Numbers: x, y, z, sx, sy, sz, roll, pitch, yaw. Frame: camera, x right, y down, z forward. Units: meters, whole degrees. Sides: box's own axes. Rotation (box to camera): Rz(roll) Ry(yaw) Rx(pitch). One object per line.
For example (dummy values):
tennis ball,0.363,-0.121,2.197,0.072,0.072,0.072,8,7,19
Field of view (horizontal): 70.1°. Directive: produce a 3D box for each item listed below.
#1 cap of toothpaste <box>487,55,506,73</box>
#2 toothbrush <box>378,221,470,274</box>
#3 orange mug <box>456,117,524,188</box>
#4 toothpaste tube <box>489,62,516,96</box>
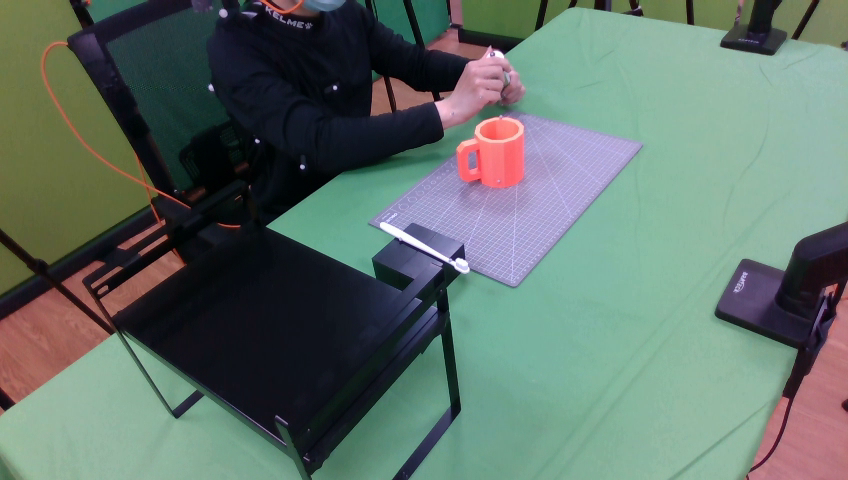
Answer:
cap of toothpaste,0.137,-0.329,1.133,0.037,0.011,0.037,-2,83,13
toothbrush,-0.004,0.007,0.894,0.180,0.017,0.014,27,55,34
orange mug,0.117,-0.152,1.071,0.127,0.101,0.083,-14,41,-15
toothpaste tube,0.154,-0.321,1.208,0.055,0.165,0.034,-2,84,10
